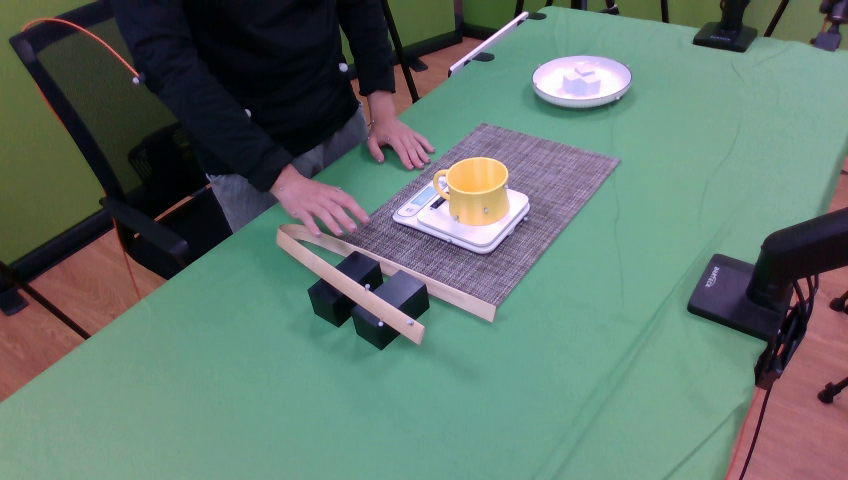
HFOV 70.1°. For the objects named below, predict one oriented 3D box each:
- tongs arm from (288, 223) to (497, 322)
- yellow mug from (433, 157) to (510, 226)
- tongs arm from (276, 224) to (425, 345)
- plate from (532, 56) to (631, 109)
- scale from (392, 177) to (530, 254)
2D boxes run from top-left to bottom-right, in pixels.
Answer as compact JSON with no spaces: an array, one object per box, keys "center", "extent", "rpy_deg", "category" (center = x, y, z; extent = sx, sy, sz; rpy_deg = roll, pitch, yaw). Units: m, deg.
[{"center":[-0.060,0.043,0.918],"extent":[0.384,0.028,0.028],"rpy_deg":[21,24,29],"category":"tongs arm"},{"center":[0.072,-0.082,0.968],"extent":[0.130,0.064,0.100],"rpy_deg":[13,45,24],"category":"yellow mug"},{"center":[-0.114,0.049,0.856],"extent":[0.051,0.026,0.381],"rpy_deg":[-7,24,-44],"category":"tongs arm"},{"center":[0.336,-0.335,1.301],"extent":[0.207,0.039,0.206],"rpy_deg":[-4,41,4],"category":"plate"},{"center":[0.060,-0.050,1.006],"extent":[0.199,0.032,0.149],"rpy_deg":[22,48,30],"category":"scale"}]
